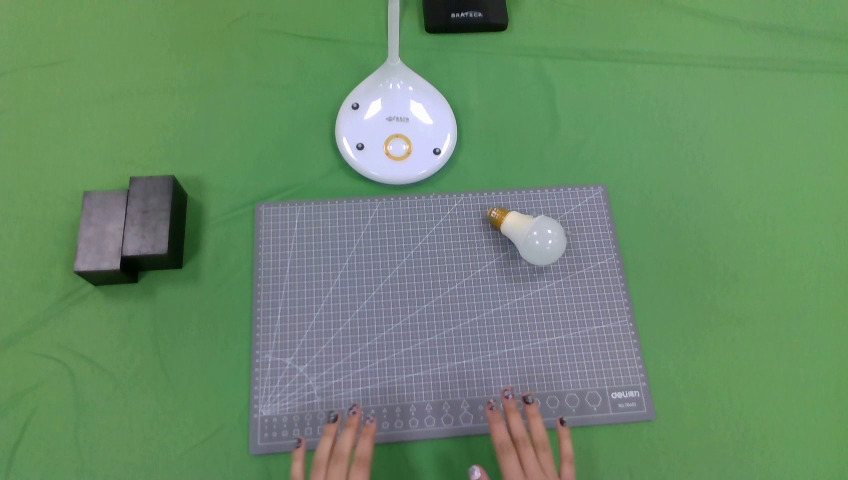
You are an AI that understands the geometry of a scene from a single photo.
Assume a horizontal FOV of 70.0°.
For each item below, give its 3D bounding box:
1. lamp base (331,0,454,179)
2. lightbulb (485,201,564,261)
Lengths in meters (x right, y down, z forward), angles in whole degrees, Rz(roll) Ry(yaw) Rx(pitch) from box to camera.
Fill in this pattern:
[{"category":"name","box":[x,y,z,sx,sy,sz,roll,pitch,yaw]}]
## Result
[{"category":"lamp base","box":[-0.039,-0.192,0.726,0.161,0.181,0.177,-8,67,-6]},{"category":"lightbulb","box":[0.119,-0.016,0.736,0.107,0.060,0.059,32,69,26]}]
